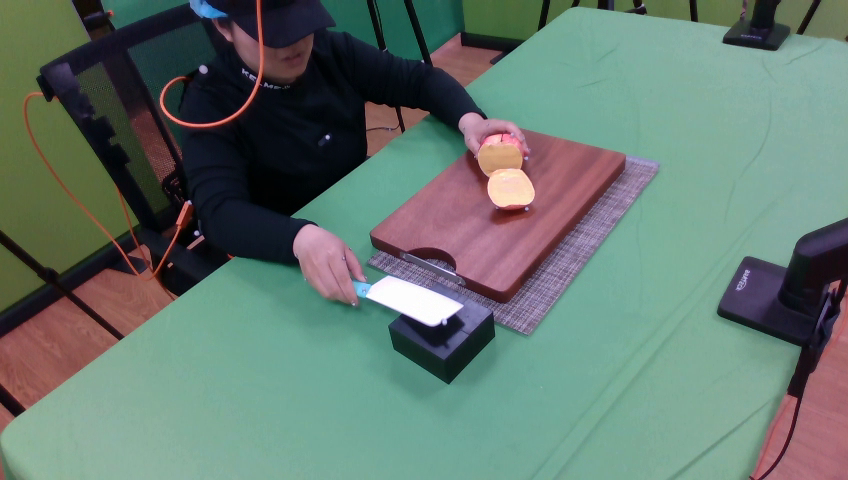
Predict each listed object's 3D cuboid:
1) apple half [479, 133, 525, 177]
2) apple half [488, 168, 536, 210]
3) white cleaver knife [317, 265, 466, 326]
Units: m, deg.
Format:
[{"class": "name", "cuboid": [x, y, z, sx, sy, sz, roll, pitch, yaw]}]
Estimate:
[{"class": "apple half", "cuboid": [0.139, -0.151, 1.055, 0.080, 0.075, 0.053, 1, 37, 18]}, {"class": "apple half", "cuboid": [0.142, -0.080, 0.995, 0.081, 0.033, 0.081, 1, 62, -1]}, {"class": "white cleaver knife", "cuboid": [-0.057, 0.074, 0.871, 0.066, 0.021, 0.284, -26, 29, -38]}]
